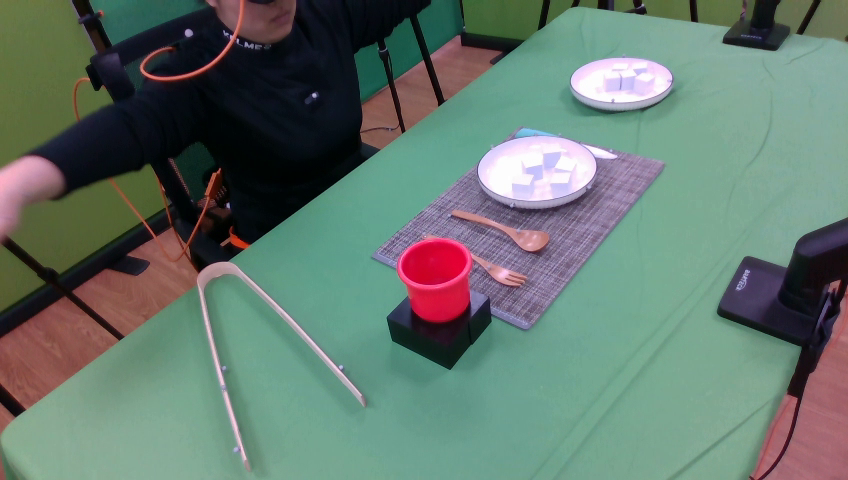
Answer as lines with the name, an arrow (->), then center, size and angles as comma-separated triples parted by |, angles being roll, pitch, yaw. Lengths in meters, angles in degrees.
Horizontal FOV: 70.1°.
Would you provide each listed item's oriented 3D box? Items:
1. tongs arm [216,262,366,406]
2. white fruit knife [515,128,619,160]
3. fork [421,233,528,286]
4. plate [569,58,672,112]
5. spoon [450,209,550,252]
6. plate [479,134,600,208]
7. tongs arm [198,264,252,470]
tongs arm -> -0.201, 0.121, 0.871 | 0.028, 0.028, 0.384 | -36, 46, -24
white fruit knife -> 0.269, -0.182, 1.148 | 0.206, 0.016, 0.027 | 21, 77, 29
fork -> 0.072, 0.027, 0.933 | 0.205, 0.019, 0.028 | 27, 58, 33
plate -> 0.411, -0.323, 1.274 | 0.209, 0.038, 0.208 | -5, 41, 5
spoon -> 0.119, -0.022, 0.979 | 0.192, 0.022, 0.041 | 24, 68, 33
plate -> 0.202, -0.117, 1.065 | 0.207, 0.039, 0.206 | -5, 40, 5
tongs arm -> -0.270, 0.154, 0.840 | 0.051, 0.026, 0.381 | -23, 41, -17
